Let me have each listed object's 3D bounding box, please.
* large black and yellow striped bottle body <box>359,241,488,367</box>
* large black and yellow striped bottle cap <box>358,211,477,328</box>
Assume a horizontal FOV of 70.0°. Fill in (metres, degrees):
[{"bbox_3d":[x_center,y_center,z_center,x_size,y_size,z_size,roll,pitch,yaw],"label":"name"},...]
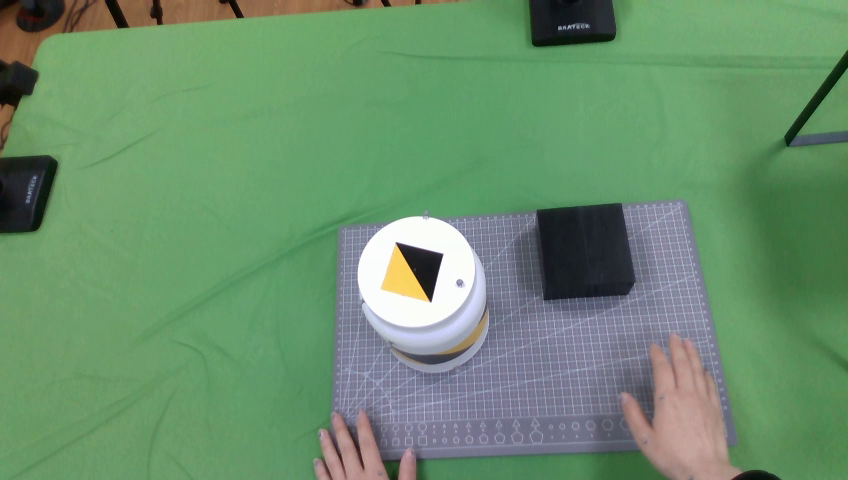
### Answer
[{"bbox_3d":[0.003,0.058,0.659,0.130,0.185,0.130,-2,67,6],"label":"large black and yellow striped bottle body"},{"bbox_3d":[-0.007,0.027,0.581,0.115,0.019,0.114,-3,67,7],"label":"large black and yellow striped bottle cap"}]
